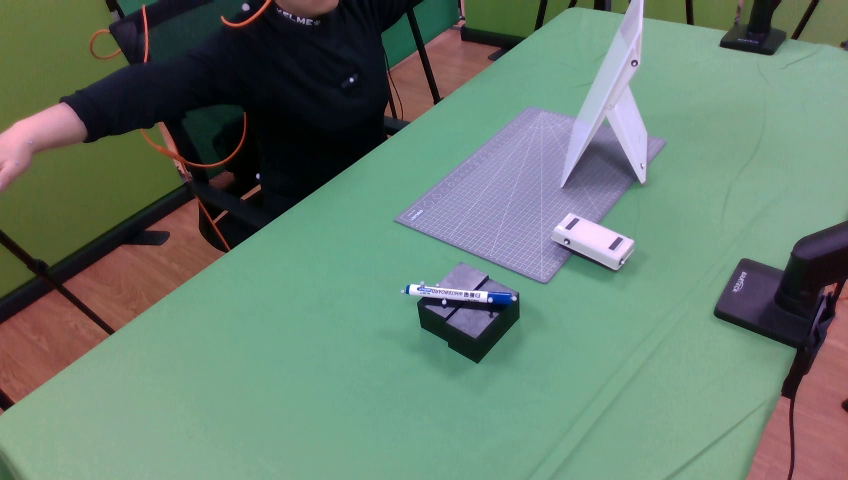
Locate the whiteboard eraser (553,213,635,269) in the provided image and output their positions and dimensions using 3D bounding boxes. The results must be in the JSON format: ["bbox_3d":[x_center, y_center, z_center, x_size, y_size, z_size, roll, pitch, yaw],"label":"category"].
[{"bbox_3d":[0.257,0.003,0.918,0.112,0.042,0.056,27,49,30],"label":"whiteboard eraser"}]

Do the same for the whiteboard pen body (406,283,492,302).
[{"bbox_3d":[0.044,0.072,0.812,0.140,0.017,0.017,4,42,14],"label":"whiteboard pen body"}]

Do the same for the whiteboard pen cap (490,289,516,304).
[{"bbox_3d":[0.105,0.074,0.798,0.033,0.018,0.018,-8,37,-28],"label":"whiteboard pen cap"}]

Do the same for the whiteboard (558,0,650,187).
[{"bbox_3d":[0.361,-0.238,1.026,0.144,0.306,0.217,21,45,4],"label":"whiteboard"}]
